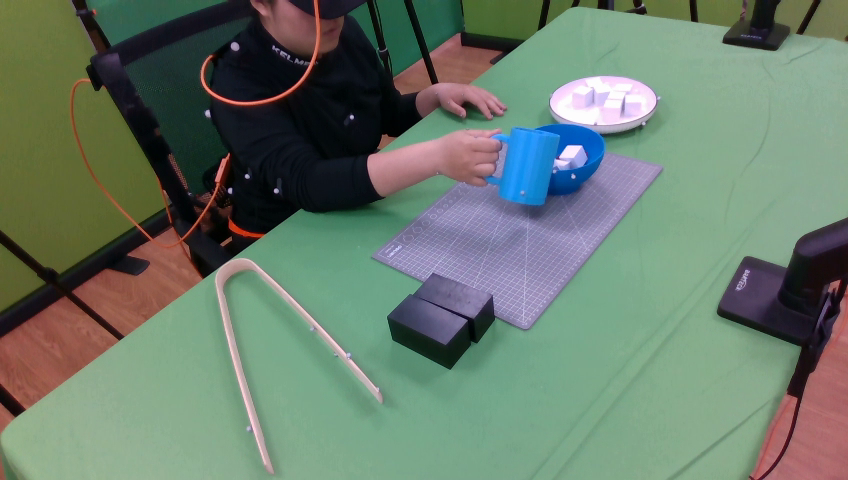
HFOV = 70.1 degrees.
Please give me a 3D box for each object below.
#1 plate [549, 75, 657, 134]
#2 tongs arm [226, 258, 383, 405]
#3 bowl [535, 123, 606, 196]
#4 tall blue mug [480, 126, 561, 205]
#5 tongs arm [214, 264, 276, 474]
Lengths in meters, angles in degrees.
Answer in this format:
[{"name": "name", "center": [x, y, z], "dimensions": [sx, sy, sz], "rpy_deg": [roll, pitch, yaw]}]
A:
[{"name": "plate", "center": [0.357, -0.268, 1.220], "dimensions": [0.209, 0.038, 0.208], "rpy_deg": [-5, 41, 5]}, {"name": "tongs arm", "center": [-0.185, 0.121, 0.863], "dimensions": [0.051, 0.027, 0.381], "rpy_deg": [-34, 45, -20]}, {"name": "bowl", "center": [0.235, -0.131, 1.045], "dimensions": [0.151, 0.077, 0.150], "rpy_deg": [-5, 40, 5]}, {"name": "tall blue mug", "center": [0.147, -0.117, 0.933], "dimensions": [0.108, 0.108, 0.077], "rpy_deg": [5, 18, -14]}, {"name": "tongs arm", "center": [-0.252, 0.159, 0.838], "dimensions": [0.028, 0.028, 0.384], "rpy_deg": [-27, 43, -8]}]
